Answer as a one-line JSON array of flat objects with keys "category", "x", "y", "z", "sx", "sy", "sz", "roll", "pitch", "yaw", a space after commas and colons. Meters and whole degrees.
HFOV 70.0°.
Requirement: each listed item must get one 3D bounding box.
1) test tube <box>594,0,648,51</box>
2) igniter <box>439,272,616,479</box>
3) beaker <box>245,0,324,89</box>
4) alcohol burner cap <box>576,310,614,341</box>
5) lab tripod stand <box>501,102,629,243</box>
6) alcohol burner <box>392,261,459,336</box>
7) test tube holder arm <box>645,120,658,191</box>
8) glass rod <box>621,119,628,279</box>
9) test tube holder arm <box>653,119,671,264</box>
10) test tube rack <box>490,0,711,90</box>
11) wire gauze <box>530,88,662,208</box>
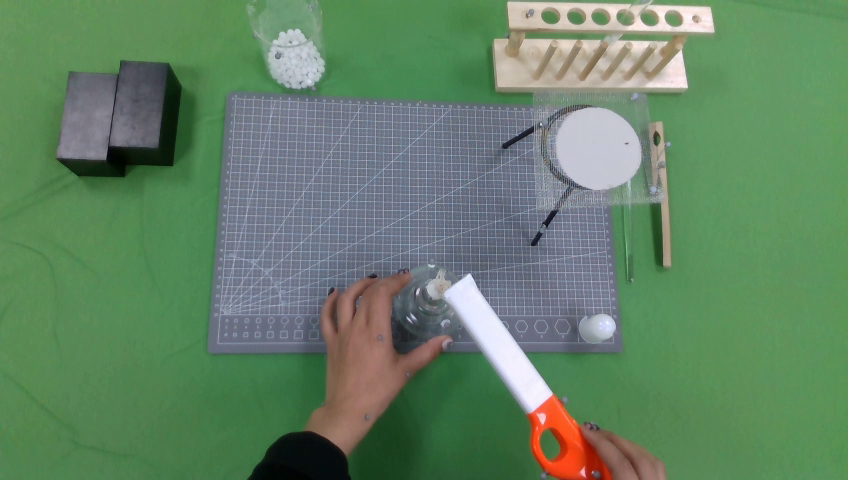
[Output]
[{"category": "test tube", "x": 0.231, "y": -0.258, "z": 0.683, "sx": 0.017, "sy": 0.150, "sz": 0.017, "roll": 3, "pitch": 75, "yaw": -11}, {"category": "igniter", "x": 0.104, "y": 0.150, "z": 0.529, "sx": 0.057, "sy": 0.025, "sz": 0.276, "roll": -34, "pitch": 88, "yaw": -17}, {"category": "beaker", "x": -0.152, "y": -0.222, "z": 0.676, "sx": 0.084, "sy": 0.100, "sz": 0.073, "roll": 19, "pitch": 74, "yaw": 0}, {"category": "alcohol burner cap", "x": 0.190, "y": 0.092, "z": 0.664, "sx": 0.034, "sy": 0.048, "sz": 0.033, "roll": 2, "pitch": 75, "yaw": -6}, {"category": "lab tripod stand", "x": 0.148, "y": -0.081, "z": 0.654, "sx": 0.148, "sy": 0.132, "sz": 0.147, "roll": 1, "pitch": 76, "yaw": -4}, {"category": "alcohol burner", "x": 0.006, "y": 0.056, "z": 0.615, "sx": 0.078, "sy": 0.119, "sz": 0.077, "roll": 1, "pitch": 73, "yaw": -5}, {"category": "test tube holder arm", "x": 0.278, "y": -0.103, "z": 0.737, "sx": 0.010, "sy": 0.015, "sz": 0.087, "roll": -7, "pitch": 76, "yaw": 27}, {"category": "glass rod", "x": 0.240, "y": -0.051, "z": 0.725, "sx": 0.008, "sy": 0.008, "sz": 0.199, "roll": 4, "pitch": 79, "yaw": -5}, {"category": "test tube holder arm", "x": 0.283, "y": -0.059, "z": 0.725, "sx": 0.013, "sy": 0.015, "sz": 0.177, "roll": -7, "pitch": 76, "yaw": 27}, {"category": "test tube rack", "x": 0.208, "y": -0.230, "z": 0.725, "sx": 0.243, "sy": 0.085, "sz": 0.066, "roll": -1, "pitch": 76, "yaw": -6}, {"category": "wire gauze", "x": 0.164, "y": -0.092, "z": 0.589, "sx": 0.121, "sy": 0.011, "sz": 0.124, "roll": -1, "pitch": 76, "yaw": -5}]
